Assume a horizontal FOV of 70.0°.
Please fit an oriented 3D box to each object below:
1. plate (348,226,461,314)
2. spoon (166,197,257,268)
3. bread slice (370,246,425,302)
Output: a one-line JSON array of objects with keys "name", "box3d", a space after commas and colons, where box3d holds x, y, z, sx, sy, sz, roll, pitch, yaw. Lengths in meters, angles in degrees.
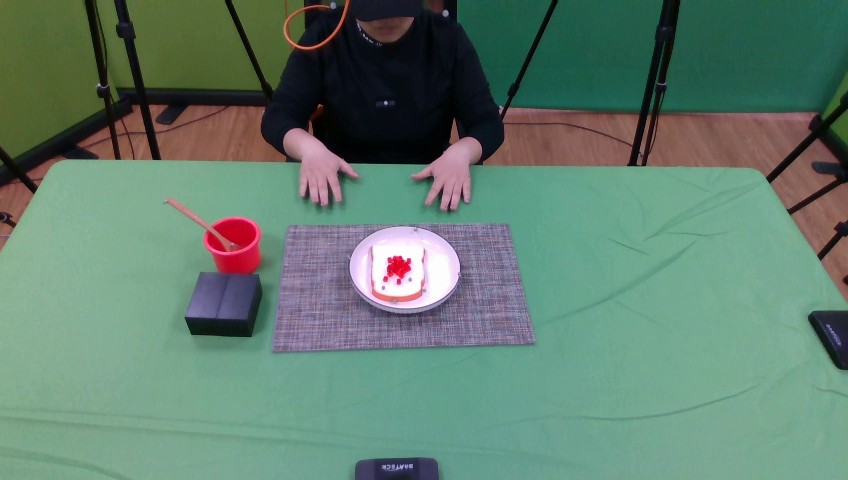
[{"name": "plate", "box3d": [-0.035, 0.058, 1.123, 0.209, 0.038, 0.208, 2, 46, -2]}, {"name": "spoon", "box3d": [-0.383, -0.014, 1.100, 0.194, 0.021, 0.041, 45, 46, -22]}, {"name": "bread slice", "box3d": [-0.048, 0.060, 1.123, 0.105, 0.019, 0.130, 0, 45, -3]}]
